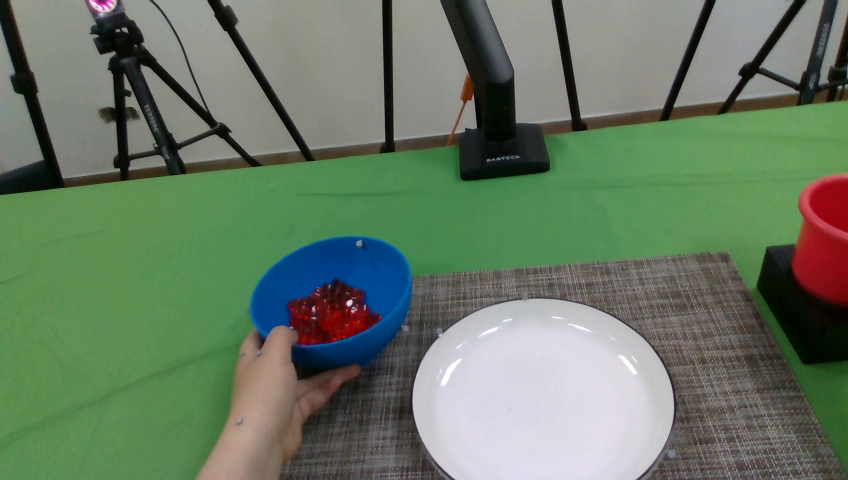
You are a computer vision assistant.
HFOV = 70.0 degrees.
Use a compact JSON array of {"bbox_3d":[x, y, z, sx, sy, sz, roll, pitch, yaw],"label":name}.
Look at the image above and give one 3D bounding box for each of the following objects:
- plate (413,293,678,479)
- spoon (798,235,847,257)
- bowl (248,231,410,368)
[{"bbox_3d":[0.096,0.128,0.499,0.207,0.039,0.205,-6,38,5],"label":"plate"},{"bbox_3d":[0.358,-0.007,0.445,0.042,0.194,0.021,-18,84,-12],"label":"spoon"},{"bbox_3d":[-0.082,0.068,0.579,0.151,0.077,0.150,-6,39,5],"label":"bowl"}]
